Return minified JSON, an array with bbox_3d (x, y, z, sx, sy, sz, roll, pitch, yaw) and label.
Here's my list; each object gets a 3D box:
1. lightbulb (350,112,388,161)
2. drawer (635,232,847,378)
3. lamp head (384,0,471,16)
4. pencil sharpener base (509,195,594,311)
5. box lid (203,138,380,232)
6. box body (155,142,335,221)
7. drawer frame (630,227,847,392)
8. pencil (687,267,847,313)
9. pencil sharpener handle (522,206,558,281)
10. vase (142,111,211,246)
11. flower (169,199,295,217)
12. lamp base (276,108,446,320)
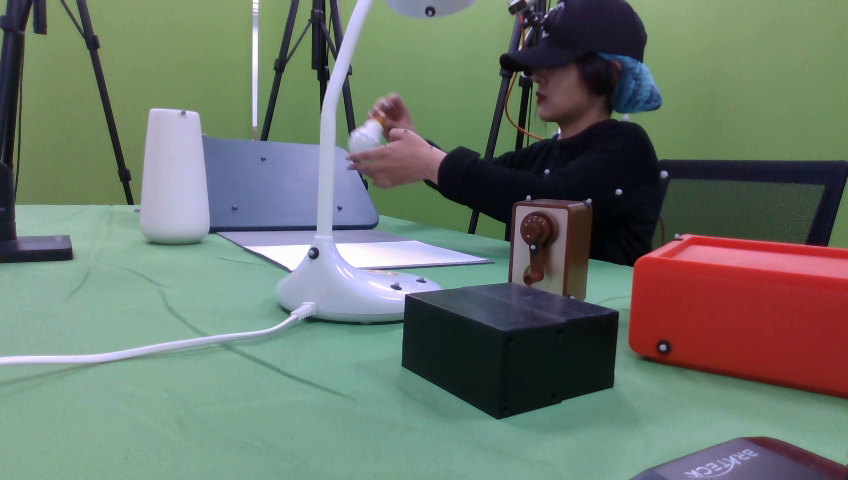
[{"bbox_3d":[-0.101,-0.201,1.164,0.059,0.107,0.059,26,-17,9],"label":"lightbulb"},{"bbox_3d":[0.292,0.044,0.488,0.193,0.073,0.213,7,9,30],"label":"drawer"},{"bbox_3d":[-0.001,-0.301,0.599,0.112,0.112,0.123,4,-30,14],"label":"lamp head"},{"bbox_3d":[0.126,0.011,0.601,0.061,0.107,0.077,7,9,30],"label":"pencil sharpener base"},{"bbox_3d":[-0.286,-0.112,1.202,0.373,0.015,0.262,-2,46,-30],"label":"box lid"},{"bbox_3d":[-0.410,-0.135,1.386,0.366,0.160,0.253,-2,9,-29],"label":"box body"},{"bbox_3d":[0.292,0.043,0.484,0.201,0.082,0.214,7,9,29],"label":"drawer frame"},{"bbox_3d":[0.308,0.044,0.515,0.194,0.012,0.012,13,5,-12],"label":"pencil"},{"bbox_3d":[0.102,0.003,0.555,0.036,0.067,0.031,0,5,31],"label":"pencil sharpener handle"},{"bbox_3d":[-0.378,-0.093,0.920,0.098,0.200,0.098,2,9,0],"label":"vase"},{"bbox_3d":[-0.424,-0.070,1.399,0.044,0.038,0.363,-2,0,30],"label":"flower"},{"bbox_3d":[-0.061,-0.027,0.556,0.160,0.180,0.180,4,10,20],"label":"lamp base"}]
